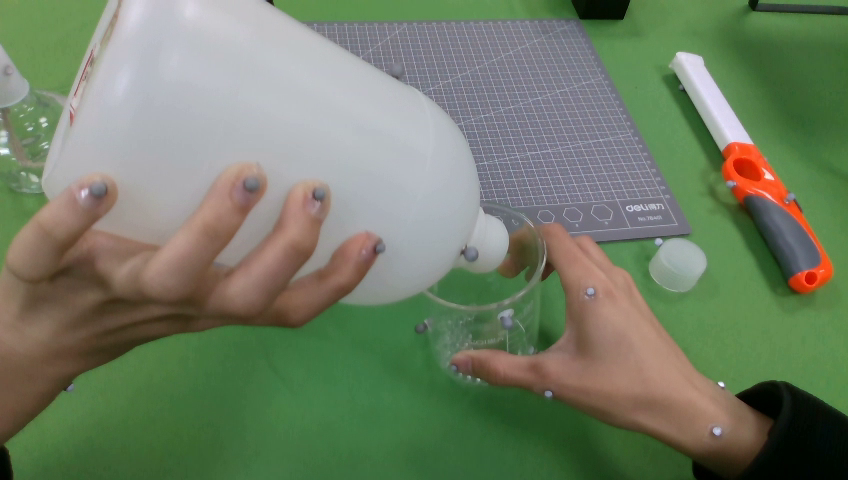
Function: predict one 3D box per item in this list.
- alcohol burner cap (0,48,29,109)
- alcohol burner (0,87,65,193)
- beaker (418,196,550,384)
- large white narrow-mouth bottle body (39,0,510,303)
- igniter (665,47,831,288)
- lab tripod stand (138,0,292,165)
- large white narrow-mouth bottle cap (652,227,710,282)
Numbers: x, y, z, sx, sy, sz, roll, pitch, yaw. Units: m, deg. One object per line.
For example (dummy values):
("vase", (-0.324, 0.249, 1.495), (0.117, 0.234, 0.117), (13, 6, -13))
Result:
("alcohol burner cap", (-0.284, -0.111, 0.392), (0.034, 0.048, 0.033), (2, 59, -3))
("alcohol burner", (-0.287, -0.090, 0.421), (0.078, 0.120, 0.077), (4, 50, -4))
("beaker", (0.031, 0.036, 0.360), (0.084, 0.101, 0.073), (-15, 51, -4))
("large white narrow-mouth bottle body", (-0.039, -0.027, 0.257), (0.196, 0.102, 0.100), (22, 43, -36))
("igniter", (0.273, -0.076, 0.524), (0.057, 0.025, 0.273), (4, 52, -17))
("lab tripod stand", (-0.159, -0.152, 0.465), (0.148, 0.132, 0.147), (4, 53, -5))
("large white narrow-mouth bottle cap", (0.192, 0.011, 0.455), (0.038, 0.024, 0.037), (3, 52, -3))
